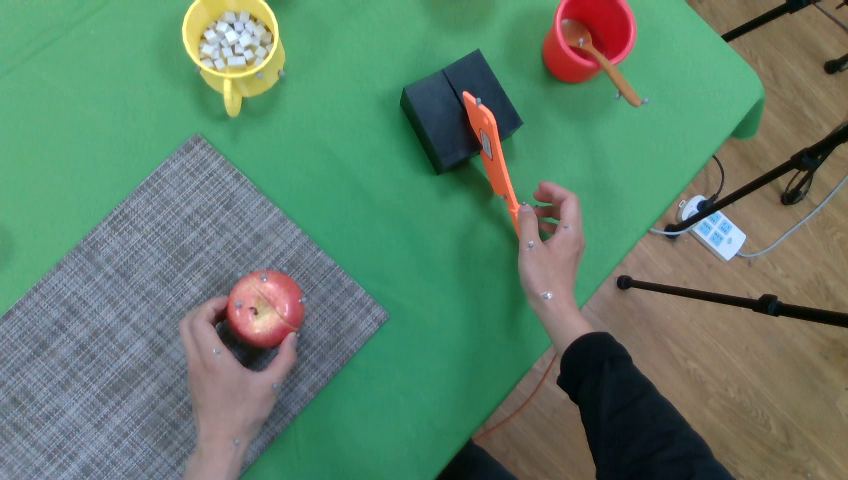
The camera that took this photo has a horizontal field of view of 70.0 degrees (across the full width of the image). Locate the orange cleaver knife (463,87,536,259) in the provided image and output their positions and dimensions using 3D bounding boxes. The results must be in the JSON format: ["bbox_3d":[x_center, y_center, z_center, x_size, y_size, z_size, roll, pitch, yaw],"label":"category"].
[{"bbox_3d":[0.086,-0.074,0.694,0.012,0.076,0.213,-26,119,-6],"label":"orange cleaver knife"}]

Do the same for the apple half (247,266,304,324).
[{"bbox_3d":[-0.151,0.052,0.650,0.033,0.081,0.081,-42,91,-5],"label":"apple half"}]

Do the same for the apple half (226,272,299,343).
[{"bbox_3d":[-0.178,0.078,0.645,0.053,0.074,0.081,-42,94,-4],"label":"apple half"}]

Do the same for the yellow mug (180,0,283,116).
[{"bbox_3d":[-0.211,-0.203,0.671,0.100,0.064,0.130,2,86,-8],"label":"yellow mug"}]

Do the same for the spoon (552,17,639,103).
[{"bbox_3d":[0.194,-0.208,0.688,0.042,0.191,0.022,-9,131,-9],"label":"spoon"}]
